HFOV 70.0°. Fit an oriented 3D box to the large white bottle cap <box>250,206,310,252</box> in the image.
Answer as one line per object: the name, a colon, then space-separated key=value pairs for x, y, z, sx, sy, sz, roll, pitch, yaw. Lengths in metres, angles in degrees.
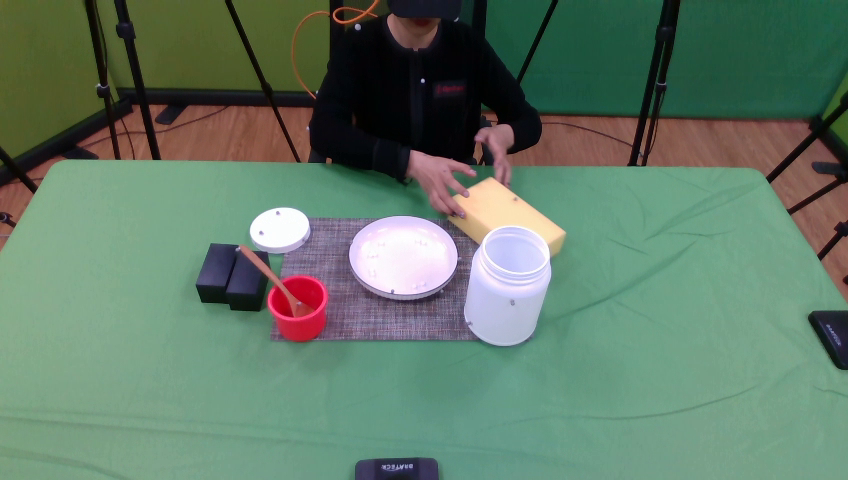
large white bottle cap: x=-0.284 y=-0.023 z=1.197 sx=0.115 sy=0.018 sz=0.114 roll=1 pitch=46 yaw=0

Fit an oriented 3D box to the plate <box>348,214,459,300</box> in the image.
plate: x=-0.040 y=0.034 z=1.146 sx=0.209 sy=0.038 sz=0.208 roll=2 pitch=47 yaw=-2

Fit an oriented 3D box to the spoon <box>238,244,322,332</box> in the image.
spoon: x=-0.241 y=0.079 z=1.015 sx=0.194 sy=0.021 sz=0.041 roll=53 pitch=52 yaw=-15

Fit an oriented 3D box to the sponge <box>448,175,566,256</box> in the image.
sponge: x=0.161 y=-0.031 z=1.206 sx=0.118 sy=0.061 sz=0.206 roll=-32 pitch=58 yaw=-31

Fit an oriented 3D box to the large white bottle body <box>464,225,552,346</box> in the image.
large white bottle body: x=0.141 y=0.076 z=1.017 sx=0.131 sy=0.185 sz=0.130 roll=2 pitch=46 yaw=-2
